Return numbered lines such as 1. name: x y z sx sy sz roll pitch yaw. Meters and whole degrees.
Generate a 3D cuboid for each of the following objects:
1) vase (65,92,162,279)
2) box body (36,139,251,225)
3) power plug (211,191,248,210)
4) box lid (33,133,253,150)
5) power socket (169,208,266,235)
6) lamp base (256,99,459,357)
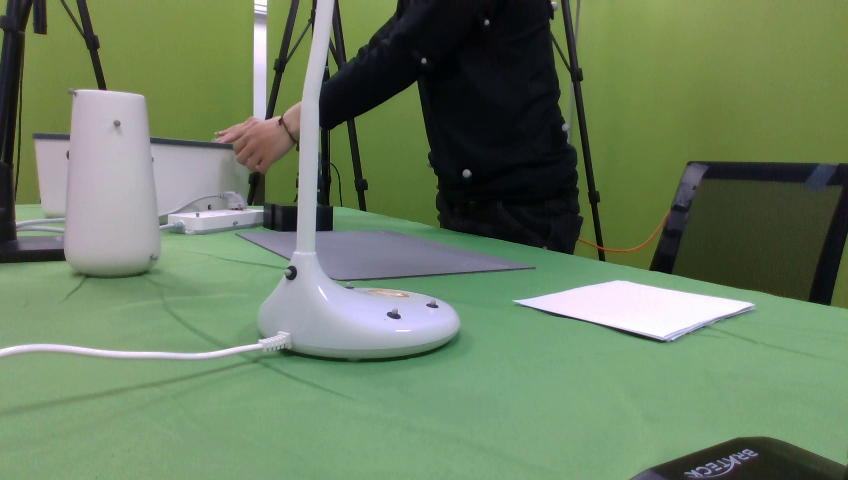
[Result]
1. vase: -0.347 -0.060 0.673 0.098 0.200 0.098 1 7 0
2. box body: -0.559 -0.127 1.257 0.253 0.160 0.365 4 8 15
3. power plug: -0.384 -0.071 1.206 0.072 0.052 0.035 2 9 29
4. box lid: -0.555 -0.199 1.249 0.263 0.015 0.372 5 8 15
5. power socket: -0.379 -0.038 1.130 0.072 0.032 0.227 4 8 18
6. lamp base: -0.055 -0.013 0.463 0.160 0.180 0.180 6 11 27
